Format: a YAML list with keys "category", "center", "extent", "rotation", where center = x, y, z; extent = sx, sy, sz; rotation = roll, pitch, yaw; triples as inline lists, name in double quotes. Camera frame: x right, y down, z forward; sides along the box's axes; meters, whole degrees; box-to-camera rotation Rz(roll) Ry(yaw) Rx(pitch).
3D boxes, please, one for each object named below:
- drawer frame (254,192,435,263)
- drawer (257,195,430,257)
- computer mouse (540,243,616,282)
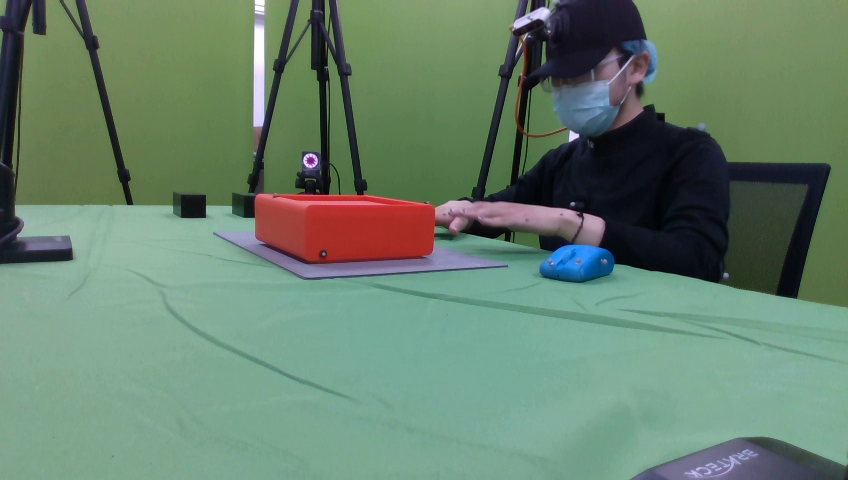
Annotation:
- category: "drawer frame"
  center: [-0.124, -0.026, 0.904]
  extent: [0.203, 0.082, 0.212]
  rotation: [-2, 9, -33]
- category: "drawer"
  center: [-0.125, -0.025, 0.907]
  extent: [0.195, 0.073, 0.210]
  rotation: [-1, 9, -32]
- category: "computer mouse"
  center: [0.205, 0.028, 0.797]
  extent: [0.062, 0.041, 0.118]
  rotation: [11, 14, 38]
